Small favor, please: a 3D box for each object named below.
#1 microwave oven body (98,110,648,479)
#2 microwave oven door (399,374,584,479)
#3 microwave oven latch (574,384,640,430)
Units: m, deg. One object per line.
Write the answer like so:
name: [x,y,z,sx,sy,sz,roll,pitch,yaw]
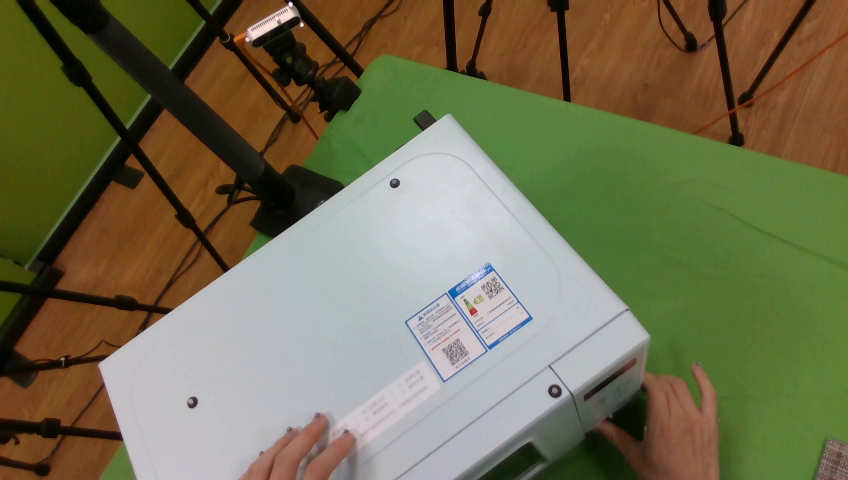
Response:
microwave oven body: [-0.047,0.137,0.652,0.441,0.263,0.322,-36,61,-1]
microwave oven door: [-0.006,0.261,0.575,0.356,0.246,0.039,-36,60,-2]
microwave oven latch: [0.201,0.176,0.669,0.079,0.030,0.030,-35,61,-1]
